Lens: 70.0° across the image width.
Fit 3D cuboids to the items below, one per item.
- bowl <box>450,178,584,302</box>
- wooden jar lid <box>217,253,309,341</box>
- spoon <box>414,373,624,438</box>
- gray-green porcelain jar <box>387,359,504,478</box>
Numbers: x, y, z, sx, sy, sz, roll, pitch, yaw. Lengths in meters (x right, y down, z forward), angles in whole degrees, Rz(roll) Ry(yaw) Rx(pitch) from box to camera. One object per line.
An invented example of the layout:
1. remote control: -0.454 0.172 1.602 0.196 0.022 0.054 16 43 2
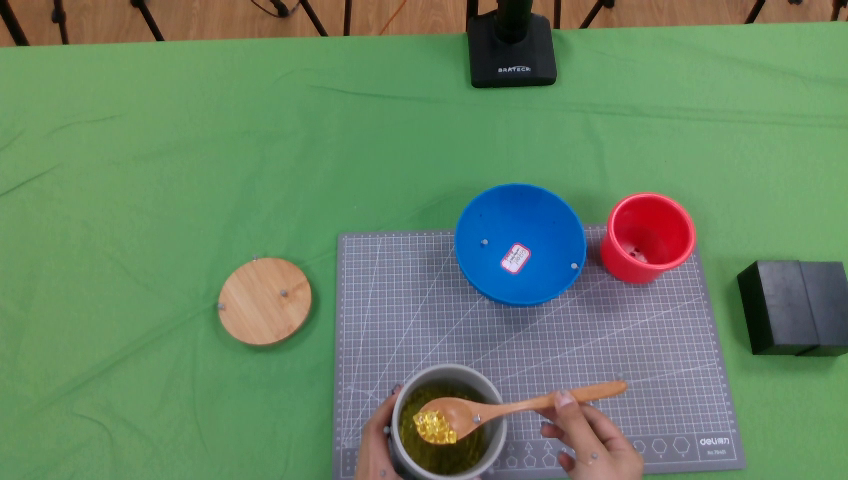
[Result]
1. bowl: 0.105 0.011 0.714 0.151 0.077 0.150 0 67 0
2. wooden jar lid: -0.191 0.069 0.724 0.108 0.021 0.107 0 67 1
3. spoon: 0.084 0.147 0.551 0.193 0.022 0.041 -14 73 15
4. gray-green porcelain jar: 0.016 0.182 0.606 0.106 0.127 0.105 2 68 -5
